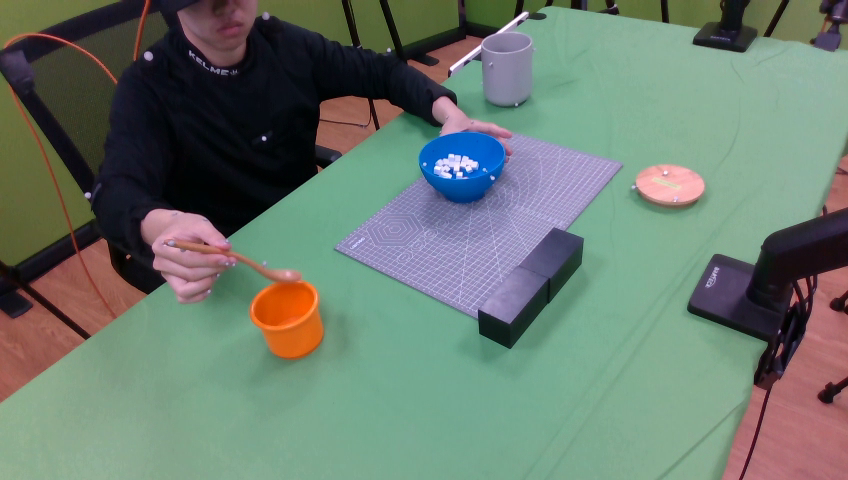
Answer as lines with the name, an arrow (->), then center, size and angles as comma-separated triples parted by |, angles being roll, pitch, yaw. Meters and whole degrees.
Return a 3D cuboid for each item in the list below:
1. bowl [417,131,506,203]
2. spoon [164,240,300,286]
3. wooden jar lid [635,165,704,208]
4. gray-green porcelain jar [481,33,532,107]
bowl -> 0.068, -0.116, 1.048 | 0.151, 0.077, 0.150 | -4, 40, 4
spoon -> -0.226, 0.027, 0.733 | 0.041, 0.195, 0.021 | 20, 83, 39
wooden jar lid -> 0.410, -0.089, 1.014 | 0.108, 0.021, 0.108 | -5, 42, 5
gray-green porcelain jar -> 0.175, -0.355, 1.278 | 0.106, 0.127, 0.105 | -4, 41, 4
